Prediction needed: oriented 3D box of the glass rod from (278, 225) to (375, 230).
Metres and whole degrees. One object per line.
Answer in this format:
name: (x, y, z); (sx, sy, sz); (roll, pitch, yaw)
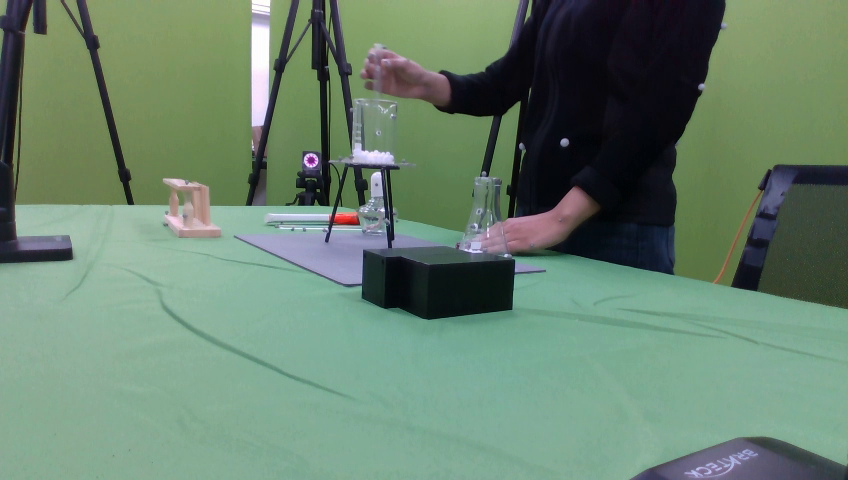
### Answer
glass rod: (-0.186, -0.024, 1.178); (0.201, 0.008, 0.008); (1, 6, -31)

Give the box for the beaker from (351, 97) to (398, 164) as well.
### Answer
beaker: (-0.078, -0.172, 0.962); (0.074, 0.100, 0.084); (6, 8, 19)

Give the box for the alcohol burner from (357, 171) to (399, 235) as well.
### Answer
alcohol burner: (-0.085, -0.069, 1.125); (0.078, 0.119, 0.078); (3, 10, 0)

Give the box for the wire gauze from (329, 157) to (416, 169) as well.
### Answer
wire gauze: (-0.079, -0.125, 0.972); (0.121, 0.011, 0.125); (6, 6, 5)

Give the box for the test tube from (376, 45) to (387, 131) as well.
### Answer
test tube: (-0.074, -0.267, 1.062); (0.017, 0.150, 0.017); (1, 2, 0)

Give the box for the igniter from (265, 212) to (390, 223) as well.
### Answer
igniter: (-0.196, -0.048, 1.285); (0.278, 0.025, 0.057); (-2, -2, -30)

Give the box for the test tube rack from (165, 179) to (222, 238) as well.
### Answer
test tube rack: (-0.423, -0.062, 1.098); (0.067, 0.085, 0.241); (-2, 9, -28)

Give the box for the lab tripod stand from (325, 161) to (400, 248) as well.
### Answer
lab tripod stand: (-0.083, -0.059, 0.977); (0.148, 0.131, 0.148); (4, 8, 0)

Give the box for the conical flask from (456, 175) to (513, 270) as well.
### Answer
conical flask: (0.083, -0.025, 0.801); (0.075, 0.122, 0.075); (2, 7, 0)

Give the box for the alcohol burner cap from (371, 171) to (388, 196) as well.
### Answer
alcohol burner cap: (-0.085, -0.104, 1.120); (0.034, 0.048, 0.034); (-4, 8, 1)
